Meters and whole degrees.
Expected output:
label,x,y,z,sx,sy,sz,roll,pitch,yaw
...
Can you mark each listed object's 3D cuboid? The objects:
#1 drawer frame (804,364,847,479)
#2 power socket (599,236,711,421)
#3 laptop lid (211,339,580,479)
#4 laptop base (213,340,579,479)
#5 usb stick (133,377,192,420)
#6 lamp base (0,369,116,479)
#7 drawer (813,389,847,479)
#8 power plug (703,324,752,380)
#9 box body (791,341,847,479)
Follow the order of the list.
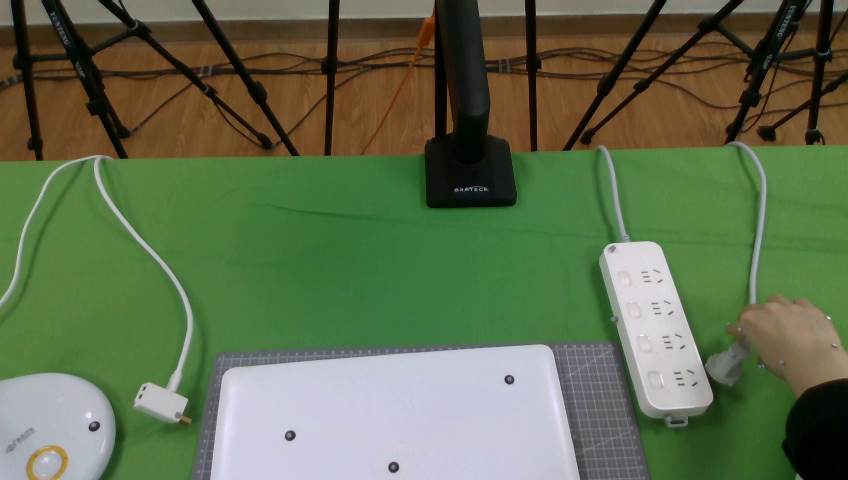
label,x,y,z,sx,sy,sz,roll,pitch,yaw
drawer frame,0.466,0.233,0.543,0.200,0.083,0.213,32,56,19
power socket,0.254,0.088,0.683,0.072,0.033,0.224,-2,54,-3
laptop lid,-0.028,0.216,0.586,0.357,0.013,0.239,-3,57,-2
laptop base,-0.028,0.220,0.597,0.355,0.023,0.233,-4,59,-3
usb stick,-0.262,0.165,0.619,0.021,0.060,0.027,-24,38,38
lamp base,-0.403,0.154,0.544,0.178,0.182,0.160,20,57,17
drawer,0.471,0.233,0.540,0.193,0.074,0.211,30,61,21
power plug,0.331,0.127,0.653,0.073,0.053,0.035,-12,49,-31
box body,0.450,0.252,0.489,0.253,0.162,0.362,27,59,17
